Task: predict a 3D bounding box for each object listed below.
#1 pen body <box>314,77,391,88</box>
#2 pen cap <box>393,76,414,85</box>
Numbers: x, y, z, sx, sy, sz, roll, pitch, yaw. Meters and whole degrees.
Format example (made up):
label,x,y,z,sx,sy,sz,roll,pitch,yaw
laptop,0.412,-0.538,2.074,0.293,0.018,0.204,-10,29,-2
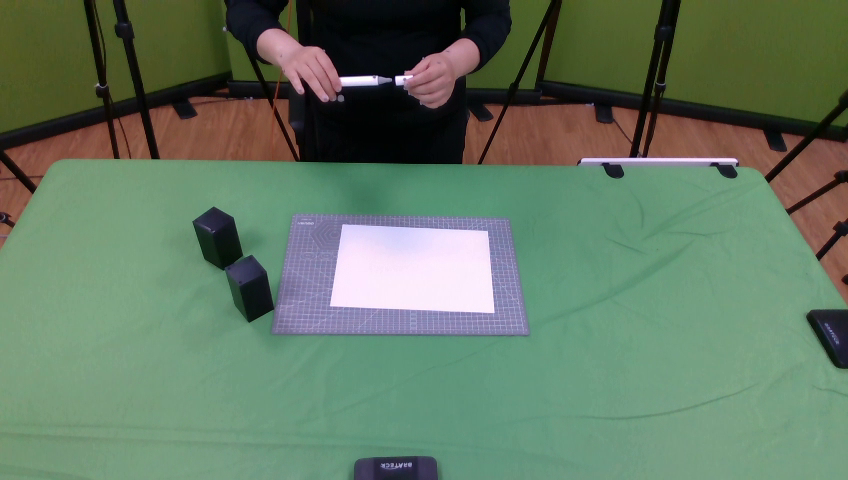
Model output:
label,x,y,z,sx,sy,sz,roll,pitch,yaw
pen body,-0.128,-0.283,1.092,0.144,0.017,0.017,2,44,12
pen cap,-0.036,-0.286,1.086,0.038,0.017,0.017,-2,46,0
